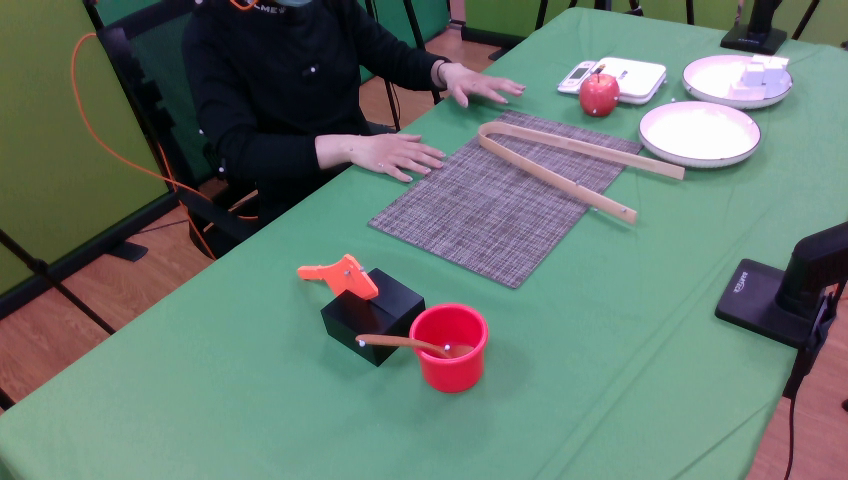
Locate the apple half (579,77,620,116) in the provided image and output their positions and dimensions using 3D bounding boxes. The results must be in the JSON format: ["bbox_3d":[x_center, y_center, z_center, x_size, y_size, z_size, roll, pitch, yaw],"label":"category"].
[{"bbox_3d":[0.348,-0.285,1.218,0.080,0.075,0.053,17,49,22],"label":"apple half"}]

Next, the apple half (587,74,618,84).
[{"bbox_3d":[0.366,-0.310,1.243,0.081,0.081,0.033,15,49,24],"label":"apple half"}]

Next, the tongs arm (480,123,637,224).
[{"bbox_3d":[0.228,-0.128,1.080,0.051,0.026,0.381,-33,46,-26],"label":"tongs arm"}]

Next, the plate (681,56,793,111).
[{"bbox_3d":[0.636,-0.317,1.239,0.207,0.039,0.206,-4,40,4],"label":"plate"}]

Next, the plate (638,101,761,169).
[{"bbox_3d":[0.500,-0.189,1.111,0.209,0.038,0.208,-4,41,4],"label":"plate"}]

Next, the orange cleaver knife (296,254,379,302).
[{"bbox_3d":[-0.129,0.058,0.874,0.012,0.077,0.210,-39,17,-30],"label":"orange cleaver knife"}]

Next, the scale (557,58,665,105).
[{"bbox_3d":[0.407,-0.348,1.314,0.199,0.032,0.149,19,47,28],"label":"scale"}]

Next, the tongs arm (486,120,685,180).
[{"bbox_3d":[0.287,-0.171,1.123,0.384,0.028,0.028,21,52,29],"label":"tongs arm"}]

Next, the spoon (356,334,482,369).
[{"bbox_3d":[-0.001,0.130,0.731,0.195,0.021,0.041,21,28,-39],"label":"spoon"}]
